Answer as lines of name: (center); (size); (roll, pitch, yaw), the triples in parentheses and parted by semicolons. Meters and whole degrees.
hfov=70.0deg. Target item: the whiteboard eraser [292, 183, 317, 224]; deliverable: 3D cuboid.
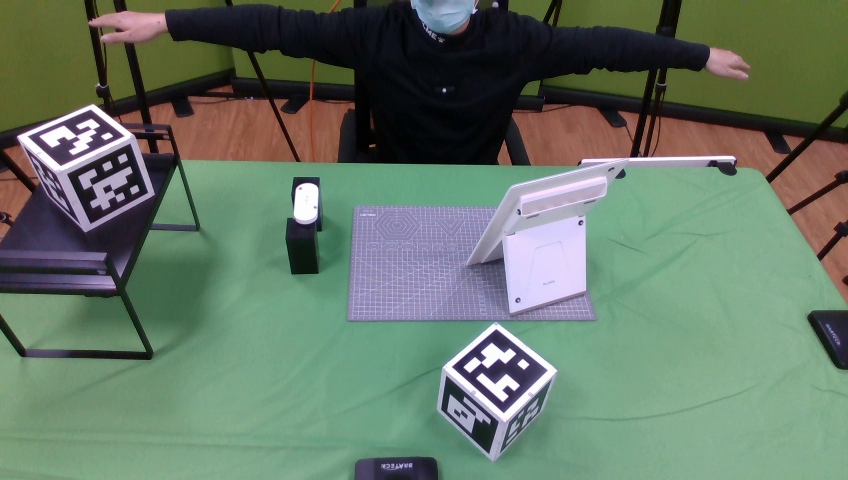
whiteboard eraser: (-0.217, -0.068, 1.108); (0.041, 0.019, 0.100); (-2, 46, -4)

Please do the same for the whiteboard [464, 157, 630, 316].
whiteboard: (0.224, 0.014, 1.043); (0.217, 0.306, 0.143); (-14, 68, -17)
